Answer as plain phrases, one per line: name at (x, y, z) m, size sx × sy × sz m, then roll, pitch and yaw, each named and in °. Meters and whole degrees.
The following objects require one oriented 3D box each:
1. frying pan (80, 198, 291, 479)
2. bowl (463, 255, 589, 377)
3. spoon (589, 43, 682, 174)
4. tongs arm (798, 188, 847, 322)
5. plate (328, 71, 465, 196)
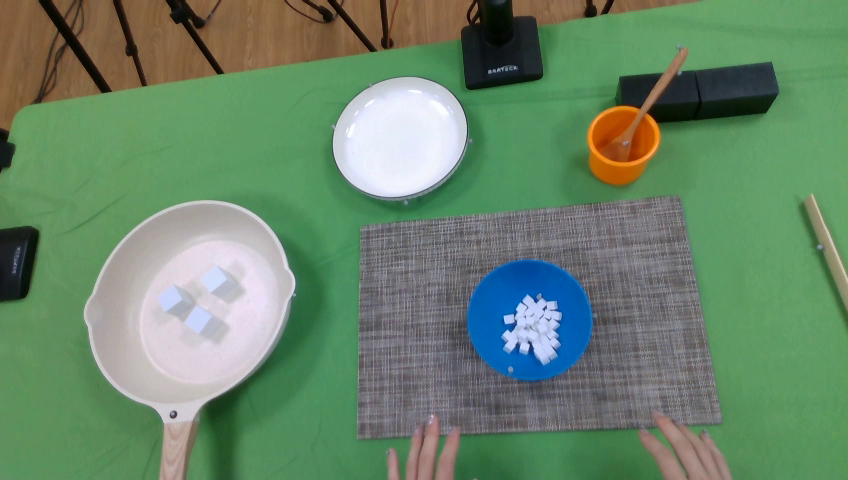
frying pan at (-0.318, 0.176, 0.802) m, size 0.306 × 0.104 × 0.483 m, roll -7°, pitch 61°, yaw 8°
bowl at (0.128, 0.102, 0.761) m, size 0.151 × 0.077 × 0.150 m, roll -3°, pitch 70°, yaw 9°
spoon at (0.280, -0.169, 0.800) m, size 0.022 × 0.194 × 0.041 m, roll -18°, pitch 54°, yaw -46°
tongs arm at (0.530, 0.111, 0.720) m, size 0.028 × 0.028 × 0.384 m, roll -13°, pitch 69°, yaw 3°
plate at (-0.039, -0.157, 0.911) m, size 0.207 × 0.039 × 0.206 m, roll -3°, pitch 70°, yaw 9°
